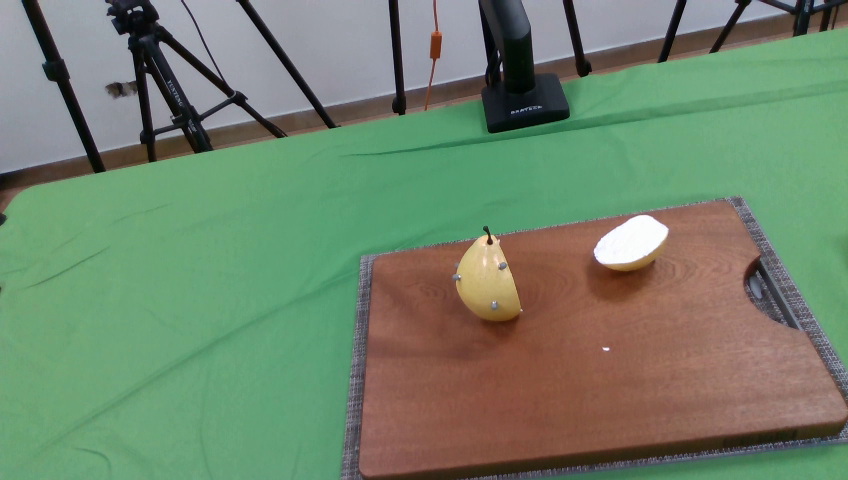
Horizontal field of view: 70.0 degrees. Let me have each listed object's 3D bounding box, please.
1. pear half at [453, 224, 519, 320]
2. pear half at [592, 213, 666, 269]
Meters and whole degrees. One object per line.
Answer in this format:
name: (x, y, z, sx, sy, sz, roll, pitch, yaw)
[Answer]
pear half: (0.054, 0.029, 0.578, 0.056, 0.111, 0.075, -22, 39, -6)
pear half: (0.210, 0.005, 0.613, 0.070, 0.031, 0.088, 0, 29, 38)
